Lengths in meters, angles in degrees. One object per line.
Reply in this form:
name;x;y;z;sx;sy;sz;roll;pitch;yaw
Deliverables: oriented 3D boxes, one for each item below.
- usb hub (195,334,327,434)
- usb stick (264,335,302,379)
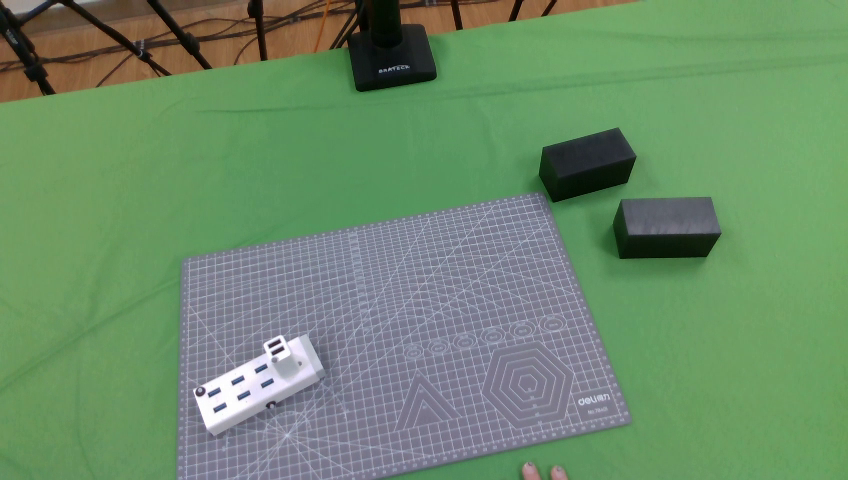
usb hub;-0.169;0.148;0.630;0.125;0.025;0.049;-26;59;-14
usb stick;-0.140;0.121;0.611;0.021;0.060;0.027;-29;58;-13
